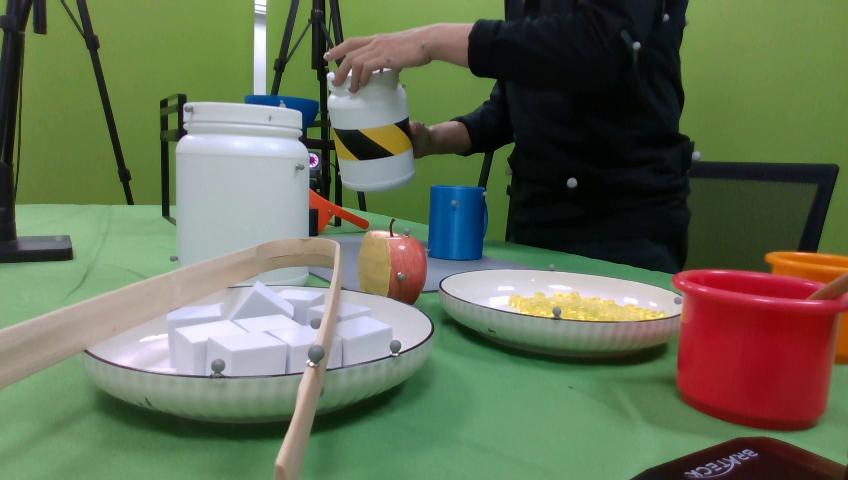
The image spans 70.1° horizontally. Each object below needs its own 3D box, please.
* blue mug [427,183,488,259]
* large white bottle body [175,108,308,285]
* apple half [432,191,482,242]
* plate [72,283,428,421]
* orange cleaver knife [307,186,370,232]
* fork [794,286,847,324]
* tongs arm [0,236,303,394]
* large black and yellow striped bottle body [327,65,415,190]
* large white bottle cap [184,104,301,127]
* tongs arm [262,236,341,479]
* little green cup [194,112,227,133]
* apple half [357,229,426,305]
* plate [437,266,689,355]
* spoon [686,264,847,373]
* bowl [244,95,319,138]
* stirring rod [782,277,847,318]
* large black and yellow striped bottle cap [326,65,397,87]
[{"bbox_3d":[0.059,-0.031,0.907,0.082,0.106,0.117,9,9,42],"label":"blue mug"},{"bbox_3d":[-0.188,-0.042,0.630,0.131,0.184,0.130,2,8,0],"label":"large white bottle body"},{"bbox_3d":[0.048,-0.037,0.905,0.081,0.081,0.033,2,15,0],"label":"apple half"},{"bbox_3d":[-0.102,0.066,0.381,0.208,0.039,0.207,2,7,0],"label":"plate"},{"bbox_3d":[-0.196,-0.056,1.140,0.212,0.077,0.012,29,0,-34],"label":"orange cleaver knife"},{"bbox_3d":[0.332,0.018,0.443,0.028,0.018,0.207,-1,-36,-15],"label":"fork"},{"bbox_3d":[-0.157,0.038,0.351,0.028,0.028,0.388,-3,8,12],"label":"tongs arm"},{"bbox_3d":[-0.088,-0.187,1.001,0.131,0.184,0.130,-6,23,3],"label":"large black and yellow striped bottle body"},{"bbox_3d":[-0.184,-0.126,0.618,0.115,0.018,0.115,2,8,0],"label":"large white bottle cap"},{"bbox_3d":[-0.073,0.039,0.349,0.051,0.026,0.384,-2,9,-3],"label":"tongs arm"},{"bbox_3d":[-0.412,-0.228,1.171,0.061,0.038,0.061,2,8,0],"label":"little green cup"},{"bbox_3d":[-0.026,0.028,0.570,0.053,0.074,0.080,2,2,-28],"label":"apple half"},{"bbox_3d":[0.114,0.057,0.517,0.209,0.038,0.209,3,7,0],"label":"plate"},{"bbox_3d":[0.214,0.032,0.328,0.042,0.021,0.193,-3,-35,-26],"label":"spoon"},{"bbox_3d":[-0.293,-0.251,1.249,0.151,0.077,0.151,2,8,0],"label":"bowl"},{"bbox_3d":[0.344,0.019,0.461,0.014,0.006,0.176,-13,-27,-30],"label":"stirring rod"},{"bbox_3d":[-0.100,-0.264,0.968,0.115,0.019,0.115,-5,22,2],"label":"large black and yellow striped bottle cap"}]
